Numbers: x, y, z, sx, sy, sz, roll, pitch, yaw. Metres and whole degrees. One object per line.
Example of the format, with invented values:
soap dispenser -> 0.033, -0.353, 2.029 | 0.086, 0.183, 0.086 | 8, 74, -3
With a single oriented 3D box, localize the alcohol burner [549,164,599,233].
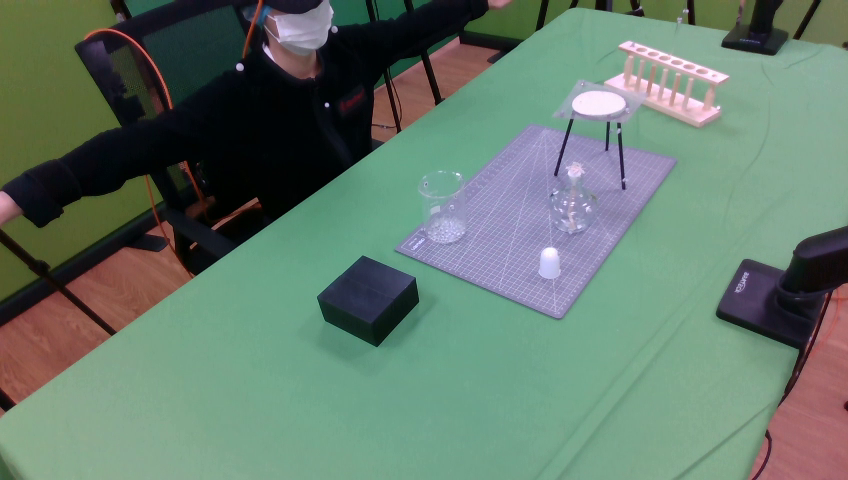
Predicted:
alcohol burner -> 0.236, -0.069, 0.946 | 0.078, 0.119, 0.077 | -3, 41, 3

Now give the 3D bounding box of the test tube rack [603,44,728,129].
test tube rack -> 0.480, -0.316, 1.227 | 0.067, 0.085, 0.240 | -28, 44, -22

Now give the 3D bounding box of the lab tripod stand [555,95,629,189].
lab tripod stand -> 0.300, -0.174, 1.045 | 0.148, 0.132, 0.147 | -5, 38, 5

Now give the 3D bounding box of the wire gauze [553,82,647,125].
wire gauze -> 0.293, -0.226, 1.002 | 0.120, 0.011, 0.125 | 17, 45, 27

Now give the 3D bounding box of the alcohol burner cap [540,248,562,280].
alcohol burner cap -> 0.187, 0.032, 0.888 | 0.034, 0.048, 0.033 | -4, 40, 4

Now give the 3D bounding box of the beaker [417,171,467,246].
beaker -> 0.034, -0.049, 0.965 | 0.084, 0.101, 0.073 | -32, 45, -27

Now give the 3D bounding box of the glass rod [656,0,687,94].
glass rod -> 0.491, -0.381, 1.199 | 0.008, 0.200, 0.008 | 1, 41, 0
